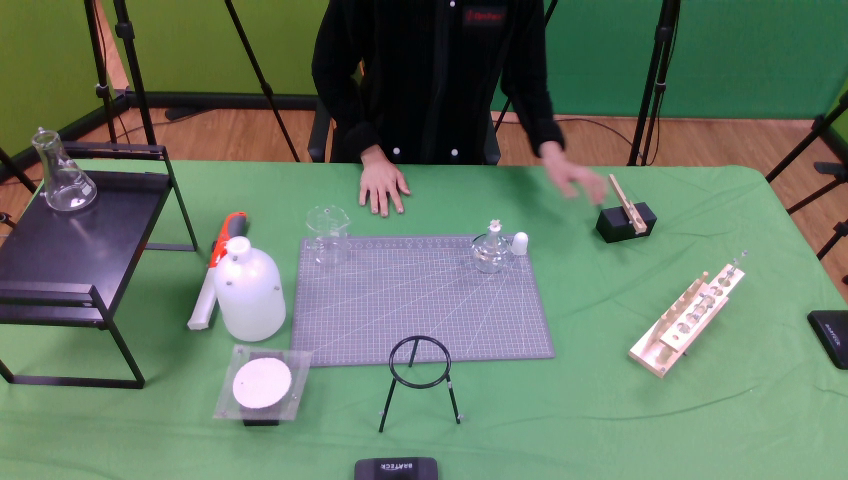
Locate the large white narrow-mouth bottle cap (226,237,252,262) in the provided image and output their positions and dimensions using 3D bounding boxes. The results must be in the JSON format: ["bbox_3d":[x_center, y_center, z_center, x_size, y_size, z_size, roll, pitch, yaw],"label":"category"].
[{"bbox_3d":[-0.282,0.014,0.923,0.038,0.024,0.037,2,46,-2],"label":"large white narrow-mouth bottle cap"}]

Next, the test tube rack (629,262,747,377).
[{"bbox_3d":[0.464,0.126,1.061,0.242,0.085,0.066,-34,56,-31],"label":"test tube rack"}]

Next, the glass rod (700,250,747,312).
[{"bbox_3d":[0.500,0.075,1.021,0.008,0.201,0.008,0,55,1],"label":"glass rod"}]

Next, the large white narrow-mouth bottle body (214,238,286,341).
[{"bbox_3d":[-0.285,0.073,0.986,0.102,0.195,0.101,2,46,-2],"label":"large white narrow-mouth bottle body"}]

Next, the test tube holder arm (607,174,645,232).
[{"bbox_3d":[0.410,-0.080,1.238,0.013,0.015,0.177,1,41,-14],"label":"test tube holder arm"}]

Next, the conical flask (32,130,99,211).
[{"bbox_3d":[-0.565,-0.110,0.944,0.075,0.122,0.075,2,46,-2],"label":"conical flask"}]

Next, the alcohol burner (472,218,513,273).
[{"bbox_3d":[0.128,0.005,1.132,0.078,0.120,0.077,0,47,0],"label":"alcohol burner"}]

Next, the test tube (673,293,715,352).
[{"bbox_3d":[0.429,0.137,0.979,0.017,0.151,0.017,5,46,-5],"label":"test tube"}]

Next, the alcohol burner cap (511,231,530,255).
[{"bbox_3d":[0.191,0.002,1.188,0.034,0.048,0.033,2,42,-2],"label":"alcohol burner cap"}]

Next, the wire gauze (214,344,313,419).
[{"bbox_3d":[-0.241,0.213,0.916,0.121,0.011,0.124,5,46,1],"label":"wire gauze"}]

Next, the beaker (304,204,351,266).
[{"bbox_3d":[-0.178,-0.006,1.132,0.084,0.101,0.073,4,46,-1],"label":"beaker"}]

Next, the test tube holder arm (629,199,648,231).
[{"bbox_3d":[0.423,-0.050,1.206,0.010,0.015,0.087,2,41,-13],"label":"test tube holder arm"}]

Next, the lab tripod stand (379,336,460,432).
[{"bbox_3d":[-0.010,0.214,0.911,0.148,0.132,0.147,1,45,-1],"label":"lab tripod stand"}]

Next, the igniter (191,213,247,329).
[{"bbox_3d":[-0.376,0.047,1.121,0.057,0.025,0.275,-4,46,6],"label":"igniter"}]
